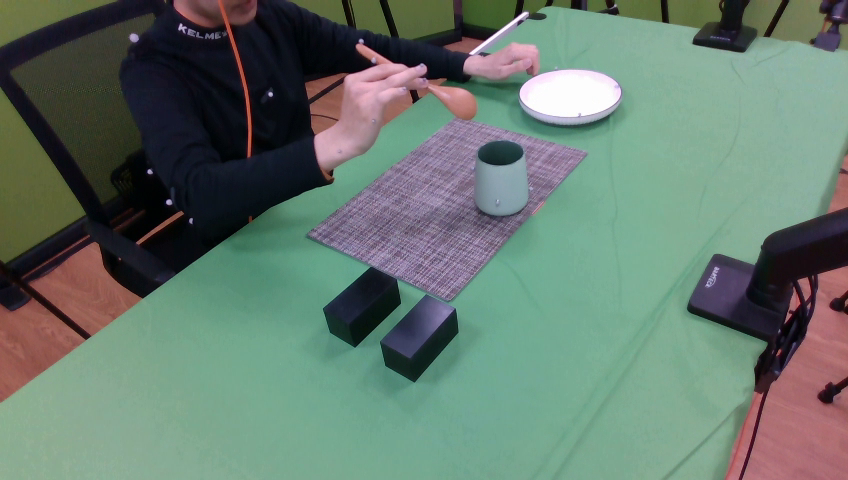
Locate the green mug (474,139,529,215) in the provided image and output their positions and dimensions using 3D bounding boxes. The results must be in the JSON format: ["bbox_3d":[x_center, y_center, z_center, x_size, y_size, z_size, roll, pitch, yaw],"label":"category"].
[{"bbox_3d":[0.126,-0.113,1.013,0.092,0.105,0.124,-8,41,0],"label":"green mug"}]

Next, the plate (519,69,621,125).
[{"bbox_3d":[0.300,-0.293,1.253,0.209,0.038,0.208,-4,41,4],"label":"plate"}]

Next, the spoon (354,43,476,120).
[{"bbox_3d":[-0.011,-0.225,0.852,0.194,0.021,0.041,25,85,-10],"label":"spoon"}]
